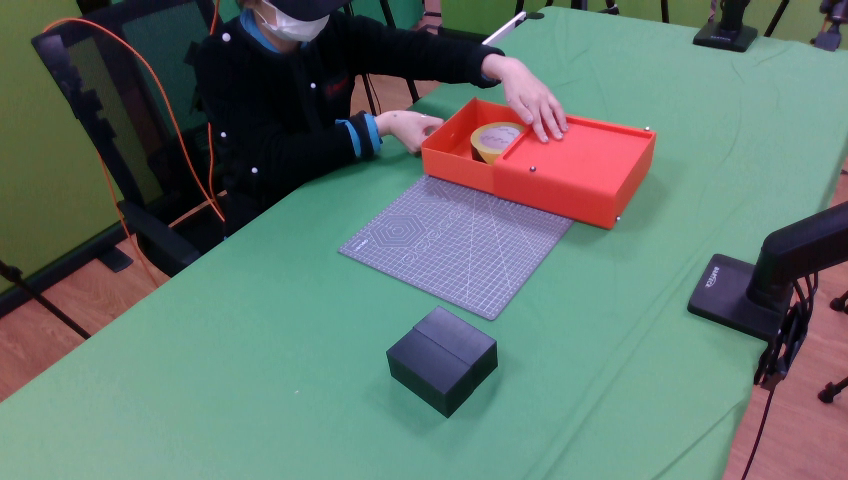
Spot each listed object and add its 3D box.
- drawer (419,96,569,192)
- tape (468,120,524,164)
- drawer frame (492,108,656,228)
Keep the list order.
[{"bbox_3d":[0.131,-0.173,1.101,0.210,0.073,0.195,20,47,29],"label":"drawer"},{"bbox_3d":[0.138,-0.168,1.104,0.117,0.053,0.116,-5,41,5],"label":"tape"},{"bbox_3d":[0.255,-0.130,1.032,0.212,0.083,0.202,19,47,27],"label":"drawer frame"}]
